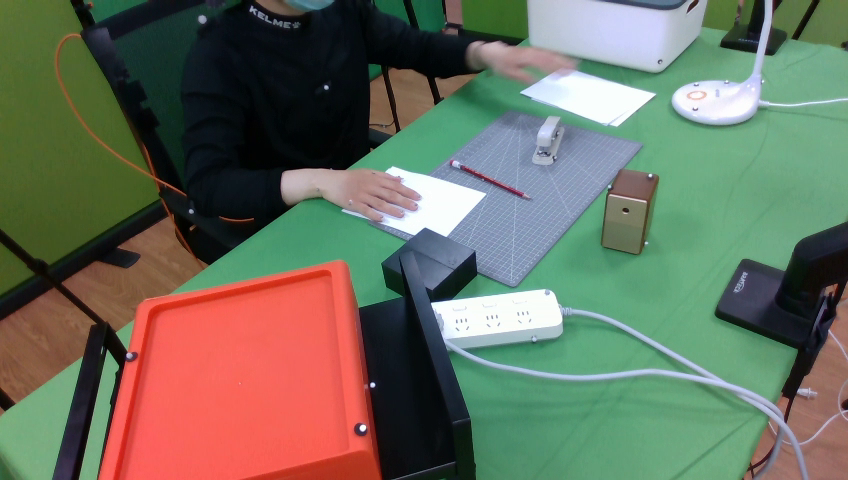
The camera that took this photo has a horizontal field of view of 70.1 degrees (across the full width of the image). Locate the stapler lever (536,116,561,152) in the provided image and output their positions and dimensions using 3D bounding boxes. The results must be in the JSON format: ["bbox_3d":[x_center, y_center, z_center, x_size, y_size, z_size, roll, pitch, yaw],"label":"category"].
[{"bbox_3d":[0.236,-0.209,1.141,0.026,0.040,0.118,10,43,18],"label":"stapler lever"}]

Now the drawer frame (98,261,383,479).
[{"bbox_3d":[-0.148,0.129,0.519,0.202,0.083,0.212,-12,41,-6],"label":"drawer frame"}]

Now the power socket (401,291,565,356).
[{"bbox_3d":[0.080,0.112,0.822,0.227,0.033,0.072,-6,41,0],"label":"power socket"}]

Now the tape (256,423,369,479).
[{"bbox_3d":[-0.121,0.262,0.660,0.117,0.053,0.116,-4,40,4],"label":"tape"}]

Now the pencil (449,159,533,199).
[{"bbox_3d":[0.118,-0.110,1.091,0.192,0.012,0.012,30,53,34],"label":"pencil"}]

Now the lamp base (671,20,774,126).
[{"bbox_3d":[0.581,-0.332,1.154,0.179,0.181,0.160,2,41,7],"label":"lamp base"}]

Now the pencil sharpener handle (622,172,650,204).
[{"bbox_3d":[0.328,-0.086,0.940,0.036,0.068,0.030,29,49,8],"label":"pencil sharpener handle"}]

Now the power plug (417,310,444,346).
[{"bbox_3d":[0.006,0.122,0.785,0.035,0.053,0.072,-1,40,8],"label":"power plug"}]

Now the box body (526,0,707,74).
[{"bbox_3d":[0.450,-0.540,1.430,0.361,0.161,0.255,24,50,31],"label":"box body"}]

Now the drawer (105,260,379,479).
[{"bbox_3d":[-0.150,0.127,0.524,0.195,0.073,0.210,-11,41,-5],"label":"drawer"}]

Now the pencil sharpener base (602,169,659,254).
[{"bbox_3d":[0.312,-0.044,0.913,0.061,0.107,0.077,14,45,24],"label":"pencil sharpener base"}]

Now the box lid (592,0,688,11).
[{"bbox_3d":[0.441,-0.596,1.383,0.368,0.015,0.264,24,49,31],"label":"box lid"}]

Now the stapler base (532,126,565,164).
[{"bbox_3d":[0.239,-0.189,1.155,0.041,0.024,0.130,10,42,18],"label":"stapler base"}]
